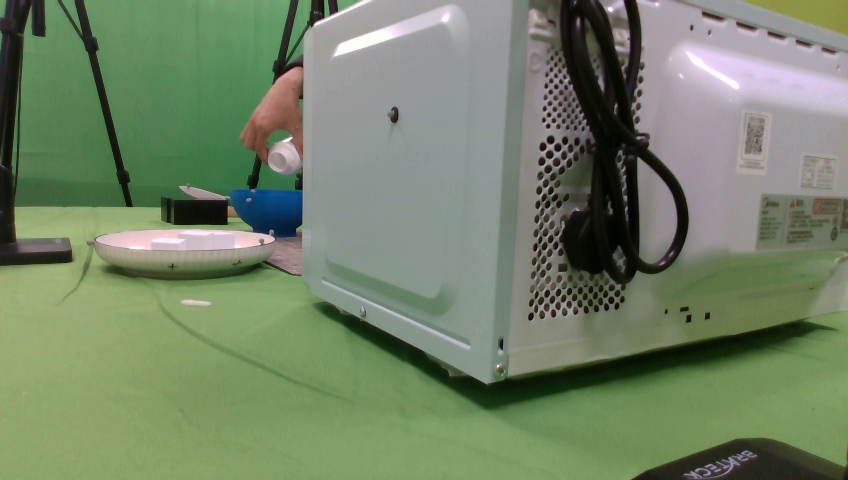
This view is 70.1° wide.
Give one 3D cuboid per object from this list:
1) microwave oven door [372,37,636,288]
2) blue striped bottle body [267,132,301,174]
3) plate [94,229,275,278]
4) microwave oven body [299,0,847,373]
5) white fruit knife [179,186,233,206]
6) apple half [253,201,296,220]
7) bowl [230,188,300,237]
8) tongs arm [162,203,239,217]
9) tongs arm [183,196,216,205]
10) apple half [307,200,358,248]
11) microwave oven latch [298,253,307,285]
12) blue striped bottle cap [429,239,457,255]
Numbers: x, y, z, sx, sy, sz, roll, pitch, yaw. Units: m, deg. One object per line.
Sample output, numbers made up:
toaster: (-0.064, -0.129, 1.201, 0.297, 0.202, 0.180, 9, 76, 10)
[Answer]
microwave oven door: (0.110, -0.080, 0.686, 0.358, 0.243, 0.039, -2, 9, -33)
blue striped bottle body: (-0.253, -0.163, 1.145, 0.063, 0.063, 0.121, 4, 22, 12)
plate: (-0.291, 0.016, 0.750, 0.208, 0.039, 0.207, 2, 7, 0)
microwave oven body: (0.152, -0.055, 0.542, 0.444, 0.260, 0.324, -2, 7, -33)
white fruit knife: (-0.413, -0.081, 1.270, 0.208, 0.027, 0.016, 17, 13, -41)
apple half: (-0.264, -0.053, 1.067, 0.081, 0.033, 0.081, 1, 8, 0)
bowl: (-0.264, -0.048, 1.065, 0.151, 0.077, 0.151, 3, 8, 0)
tongs arm: (-0.396, -0.067, 1.399, 0.389, 0.028, 0.028, 1, 5, -15)
tongs arm: (-0.404, -0.081, 1.479, 0.385, 0.026, 0.050, 4, 8, -2)
apple half: (-0.135, -0.024, 0.941, 0.053, 0.074, 0.081, 13, 9, 39)
microwave oven latch: (-0.081, 0.027, 0.582, 0.079, 0.029, 0.030, -2, 7, -32)
blue striped bottle cap: (0.029, 0.011, 0.945, 0.044, 0.020, 0.044, 0, 6, 0)
